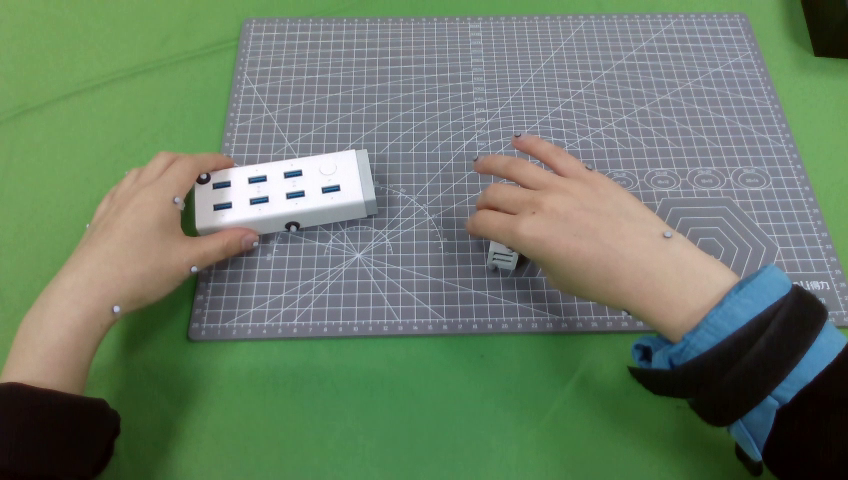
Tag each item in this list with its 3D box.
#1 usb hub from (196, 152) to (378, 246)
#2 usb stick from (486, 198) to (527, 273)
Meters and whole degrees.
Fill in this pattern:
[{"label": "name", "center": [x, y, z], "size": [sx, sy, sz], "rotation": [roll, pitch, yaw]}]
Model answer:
[{"label": "usb hub", "center": [-0.099, -0.031, 0.440], "size": [0.125, 0.025, 0.049], "rotation": [-9, 62, -6]}, {"label": "usb stick", "center": [0.059, -0.008, 0.427], "size": [0.021, 0.027, 0.059], "rotation": [10, 59, 6]}]
